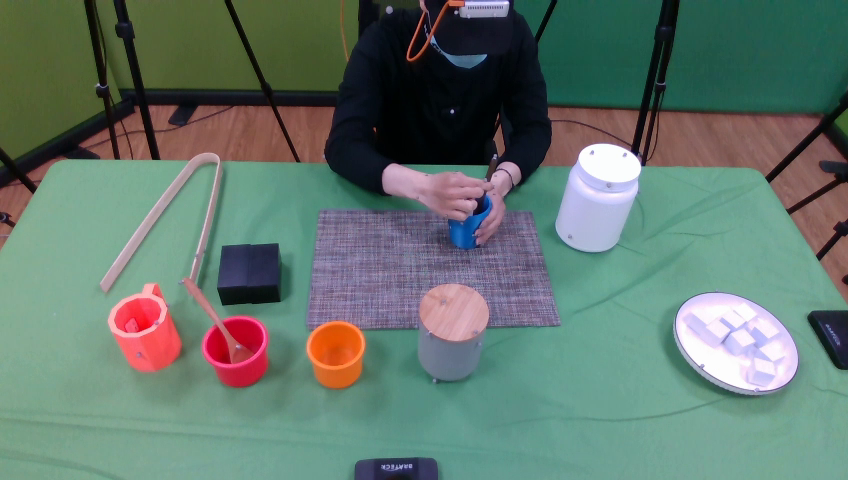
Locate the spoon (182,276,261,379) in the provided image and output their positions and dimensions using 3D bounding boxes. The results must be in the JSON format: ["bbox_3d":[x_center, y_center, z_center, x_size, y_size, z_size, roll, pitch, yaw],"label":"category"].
[{"bbox_3d":[-0.321,0.137,0.957,0.041,0.021,0.194,-36,102,-32],"label":"spoon"}]

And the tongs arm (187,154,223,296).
[{"bbox_3d":[-0.442,-0.045,1.199,0.051,0.027,0.382,-3,46,1],"label":"tongs arm"}]

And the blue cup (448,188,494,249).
[{"bbox_3d":[0.085,-0.036,1.180,0.093,0.100,0.092,5,45,-5],"label":"blue cup"}]

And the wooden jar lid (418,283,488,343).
[{"bbox_3d":[0.045,0.114,0.931,0.108,0.021,0.107,2,49,-2],"label":"wooden jar lid"}]

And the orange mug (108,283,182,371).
[{"bbox_3d":[-0.445,0.134,0.982,0.083,0.101,0.125,-1,50,-5],"label":"orange mug"}]

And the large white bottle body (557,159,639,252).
[{"bbox_3d":[0.340,-0.081,1.185,0.131,0.185,0.130,2,46,-2],"label":"large white bottle body"}]

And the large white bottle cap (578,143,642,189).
[{"bbox_3d":[0.344,-0.139,1.123,0.115,0.018,0.114,2,47,-2],"label":"large white bottle cap"}]

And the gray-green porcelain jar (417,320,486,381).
[{"bbox_3d":[0.042,0.158,0.975,0.106,0.127,0.105,2,46,-2],"label":"gray-green porcelain jar"}]

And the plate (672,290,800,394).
[{"bbox_3d":[0.533,0.179,1.050,0.208,0.039,0.206,2,46,-2],"label":"plate"}]

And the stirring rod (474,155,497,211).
[{"bbox_3d":[0.108,-0.087,1.131,0.014,0.177,0.006,-21,54,-30],"label":"stirring rod"}]

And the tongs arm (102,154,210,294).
[{"bbox_3d":[-0.524,-0.046,1.203,0.028,0.028,0.385,4,45,13],"label":"tongs arm"}]
